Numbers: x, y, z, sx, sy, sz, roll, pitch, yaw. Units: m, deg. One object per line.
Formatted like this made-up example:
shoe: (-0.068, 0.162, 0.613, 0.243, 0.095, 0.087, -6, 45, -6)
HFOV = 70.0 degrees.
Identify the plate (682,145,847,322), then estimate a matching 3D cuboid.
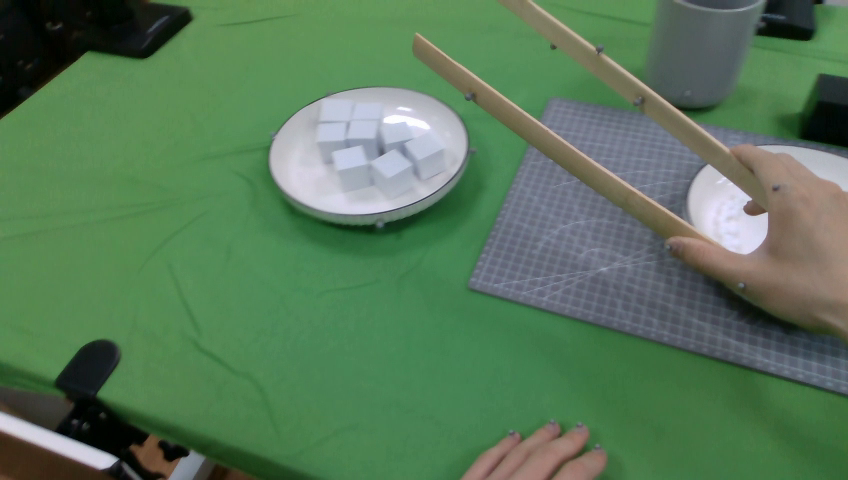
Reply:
plate: (0.334, -0.003, 0.532, 0.209, 0.038, 0.207, -2, 48, 3)

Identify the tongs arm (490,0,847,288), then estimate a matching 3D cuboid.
tongs arm: (0.177, -0.081, 0.469, 0.050, 0.027, 0.382, -40, 71, -21)

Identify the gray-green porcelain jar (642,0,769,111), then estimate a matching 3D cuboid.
gray-green porcelain jar: (0.303, -0.216, 0.667, 0.106, 0.128, 0.105, -2, 48, 3)

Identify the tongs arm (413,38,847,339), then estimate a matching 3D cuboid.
tongs arm: (0.138, -0.048, 0.452, 0.385, 0.028, 0.028, 38, 63, 16)

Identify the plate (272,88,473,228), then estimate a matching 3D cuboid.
plate: (-0.052, -0.086, 0.640, 0.207, 0.039, 0.205, -2, 49, 3)
